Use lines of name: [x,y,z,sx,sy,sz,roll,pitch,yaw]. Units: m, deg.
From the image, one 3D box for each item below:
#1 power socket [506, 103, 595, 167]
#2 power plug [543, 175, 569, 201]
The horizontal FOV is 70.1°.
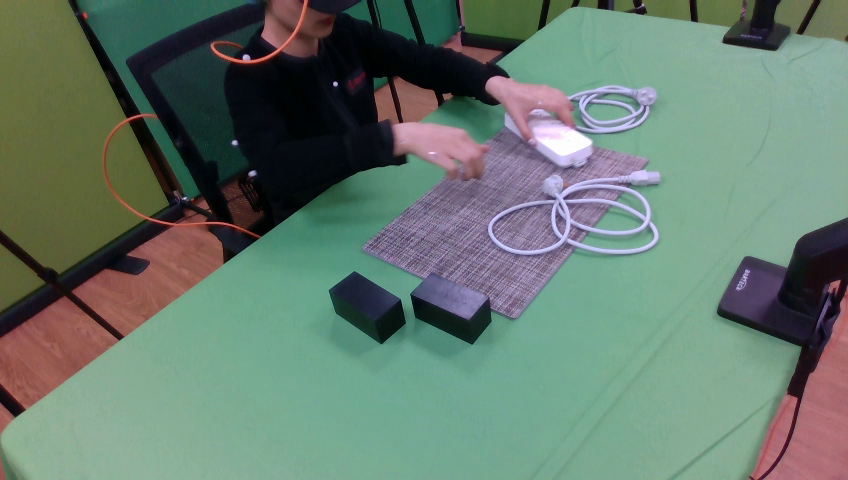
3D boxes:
power socket: [0.238,-0.205,1.162,0.072,0.033,0.224,-24,40,-15]
power plug: [0.230,-0.081,1.024,0.053,0.035,0.072,1,47,-27]
